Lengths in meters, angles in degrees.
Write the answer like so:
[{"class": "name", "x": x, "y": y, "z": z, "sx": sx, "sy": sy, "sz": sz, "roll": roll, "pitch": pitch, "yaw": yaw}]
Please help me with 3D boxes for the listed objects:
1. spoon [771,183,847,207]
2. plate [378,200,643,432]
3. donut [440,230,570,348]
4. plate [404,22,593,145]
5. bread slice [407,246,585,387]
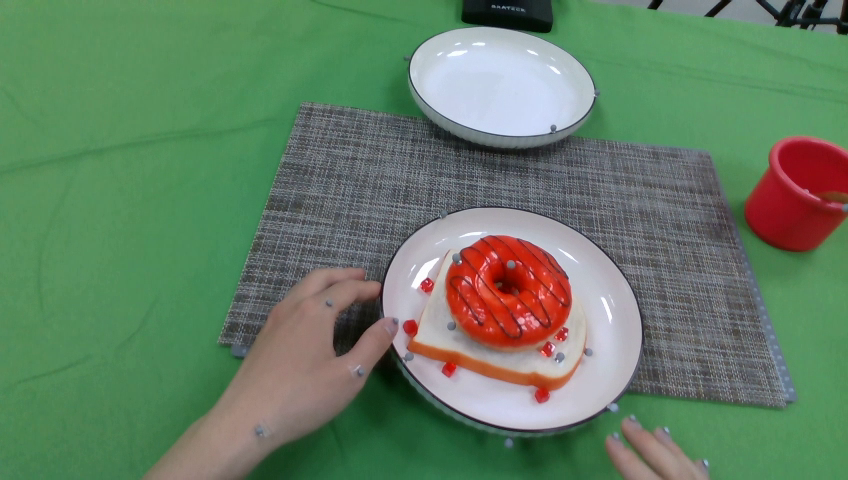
[{"class": "spoon", "x": 0.354, "y": -0.040, "z": 0.537, "sx": 0.041, "sy": 0.021, "sz": 0.194, "roll": 23, "pitch": 8, "yaw": 10}, {"class": "plate", "x": 0.067, "y": 0.056, "z": 0.486, "sx": 0.209, "sy": 0.038, "sz": 0.207, "roll": 3, "pitch": 51, "yaw": -4}, {"class": "donut", "x": 0.060, "y": 0.036, "z": 0.457, "sx": 0.099, "sy": 0.048, "sz": 0.098, "roll": 3, "pitch": 52, "yaw": -4}, {"class": "plate", "x": 0.080, "y": -0.171, "z": 0.673, "sx": 0.208, "sy": 0.039, "sz": 0.205, "roll": 4, "pitch": 49, "yaw": -4}, {"class": "bread slice", "x": 0.064, "y": 0.060, "z": 0.486, "sx": 0.131, "sy": 0.019, "sz": 0.104, "roll": 16, "pitch": 51, "yaw": 7}]
